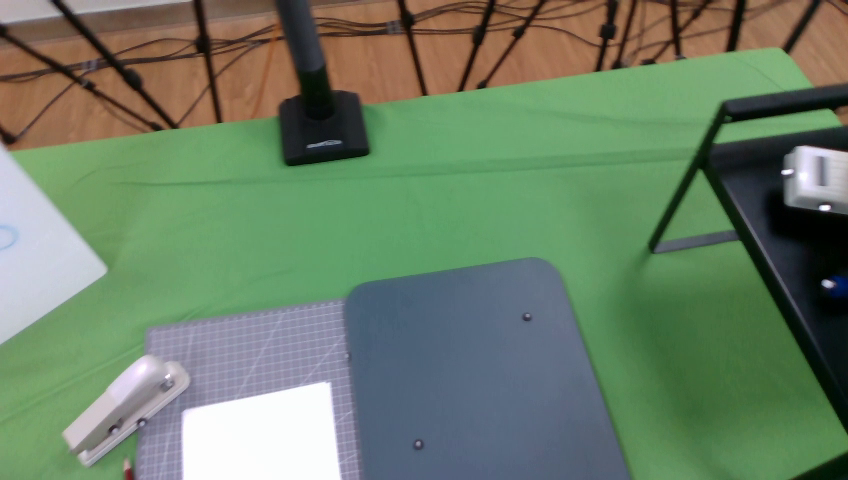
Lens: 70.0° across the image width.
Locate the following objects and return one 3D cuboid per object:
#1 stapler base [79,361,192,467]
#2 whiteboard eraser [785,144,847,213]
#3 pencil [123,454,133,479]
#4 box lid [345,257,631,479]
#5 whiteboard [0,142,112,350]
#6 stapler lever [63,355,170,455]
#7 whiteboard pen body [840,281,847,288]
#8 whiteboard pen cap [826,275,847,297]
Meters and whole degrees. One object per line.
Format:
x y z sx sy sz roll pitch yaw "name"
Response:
-0.310 0.176 0.636 0.130 0.024 0.041 -41 61 -19 "stapler base"
0.389 -0.049 0.545 0.112 0.042 0.055 11 68 10 "whiteboard eraser"
-0.267 0.292 0.569 0.012 0.012 0.192 -20 59 -12 "pencil"
0.062 0.186 0.640 0.264 0.015 0.367 -8 58 -6 "box lid"
-0.537 -0.032 0.642 0.217 0.309 0.142 -39 45 -22 "whiteboard"
-0.312 0.164 0.615 0.118 0.040 0.026 -40 61 -20 "stapler lever"
0.419 0.041 0.510 0.141 0.017 0.017 3 57 -2 "whiteboard pen body"
0.358 0.040 0.509 0.033 0.018 0.018 9 57 -4 "whiteboard pen cap"
